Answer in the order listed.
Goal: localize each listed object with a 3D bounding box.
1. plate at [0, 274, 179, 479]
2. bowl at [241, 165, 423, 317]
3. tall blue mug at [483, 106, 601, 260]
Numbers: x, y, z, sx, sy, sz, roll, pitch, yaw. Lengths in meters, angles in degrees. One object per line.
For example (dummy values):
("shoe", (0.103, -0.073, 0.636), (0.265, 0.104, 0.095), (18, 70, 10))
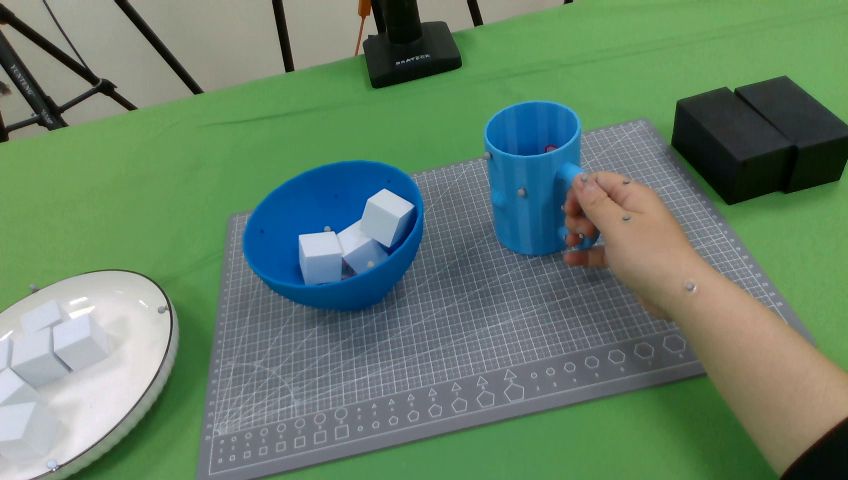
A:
("plate", (-0.301, 0.117, 0.501), (0.209, 0.038, 0.207), (-6, 44, 6))
("bowl", (-0.069, 0.013, 0.517), (0.151, 0.077, 0.150), (-7, 44, 7))
("tall blue mug", (0.106, -0.042, 0.507), (0.106, 0.109, 0.077), (16, 51, 27))
